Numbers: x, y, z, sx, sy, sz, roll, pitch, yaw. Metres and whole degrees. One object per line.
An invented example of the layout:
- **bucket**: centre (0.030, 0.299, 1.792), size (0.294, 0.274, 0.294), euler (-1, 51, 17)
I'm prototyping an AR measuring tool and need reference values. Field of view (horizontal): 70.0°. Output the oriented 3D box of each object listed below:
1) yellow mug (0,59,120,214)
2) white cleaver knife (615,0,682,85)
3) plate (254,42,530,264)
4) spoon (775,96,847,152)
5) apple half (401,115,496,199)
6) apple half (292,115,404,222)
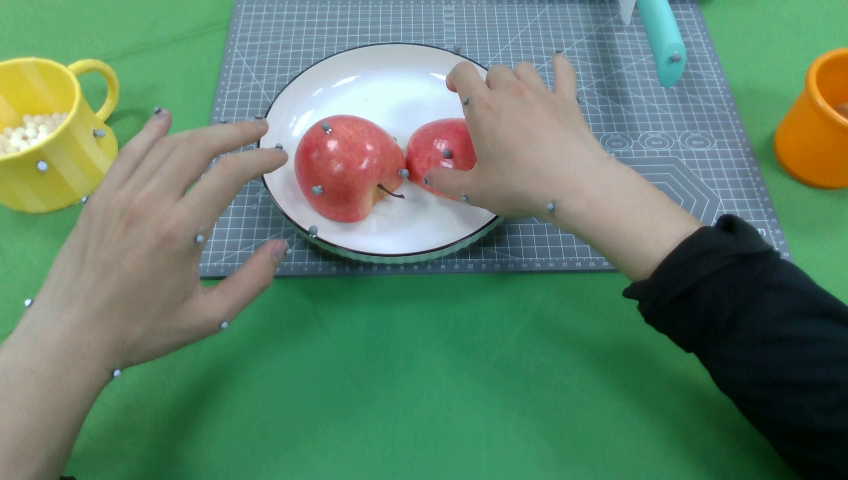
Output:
- **yellow mug**: centre (-0.290, -0.090, 0.468), size (0.099, 0.064, 0.130), euler (30, 63, 15)
- **white cleaver knife**: centre (0.190, -0.242, 0.558), size (0.021, 0.066, 0.283), euler (-3, 56, 3)
- **plate**: centre (-0.024, -0.069, 0.472), size (0.209, 0.038, 0.207), euler (0, 60, 0)
- **spoon**: centre (0.361, -0.121, 0.446), size (0.022, 0.193, 0.041), euler (24, 47, -38)
- **apple half**: centre (0.019, -0.073, 0.467), size (0.081, 0.033, 0.080), euler (1, 60, -1)
- **apple half**: centre (-0.058, -0.062, 0.449), size (0.074, 0.054, 0.080), euler (39, 67, 23)
